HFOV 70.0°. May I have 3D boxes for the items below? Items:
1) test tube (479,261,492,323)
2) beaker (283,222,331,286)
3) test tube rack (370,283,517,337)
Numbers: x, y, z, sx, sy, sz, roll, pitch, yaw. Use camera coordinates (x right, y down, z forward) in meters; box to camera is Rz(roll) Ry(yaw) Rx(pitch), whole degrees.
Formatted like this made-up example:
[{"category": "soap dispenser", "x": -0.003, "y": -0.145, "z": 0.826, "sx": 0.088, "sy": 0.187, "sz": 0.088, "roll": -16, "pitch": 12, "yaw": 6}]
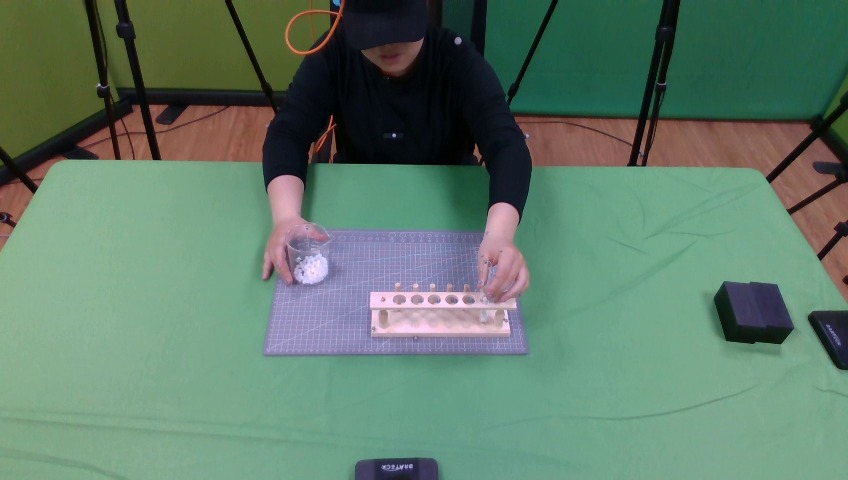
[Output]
[{"category": "test tube", "x": 0.100, "y": 0.088, "z": 0.996, "sx": 0.017, "sy": 0.151, "sz": 0.017, "roll": -1, "pitch": 46, "yaw": 1}, {"category": "beaker", "x": -0.209, "y": 0.028, "z": 1.098, "sx": 0.084, "sy": 0.101, "sz": 0.073, "roll": 2, "pitch": 46, "yaw": -4}, {"category": "test tube rack", "x": 0.030, "y": 0.116, "z": 1.041, "sx": 0.242, "sy": 0.085, "sz": 0.066, "roll": 1, "pitch": 46, "yaw": -4}]
